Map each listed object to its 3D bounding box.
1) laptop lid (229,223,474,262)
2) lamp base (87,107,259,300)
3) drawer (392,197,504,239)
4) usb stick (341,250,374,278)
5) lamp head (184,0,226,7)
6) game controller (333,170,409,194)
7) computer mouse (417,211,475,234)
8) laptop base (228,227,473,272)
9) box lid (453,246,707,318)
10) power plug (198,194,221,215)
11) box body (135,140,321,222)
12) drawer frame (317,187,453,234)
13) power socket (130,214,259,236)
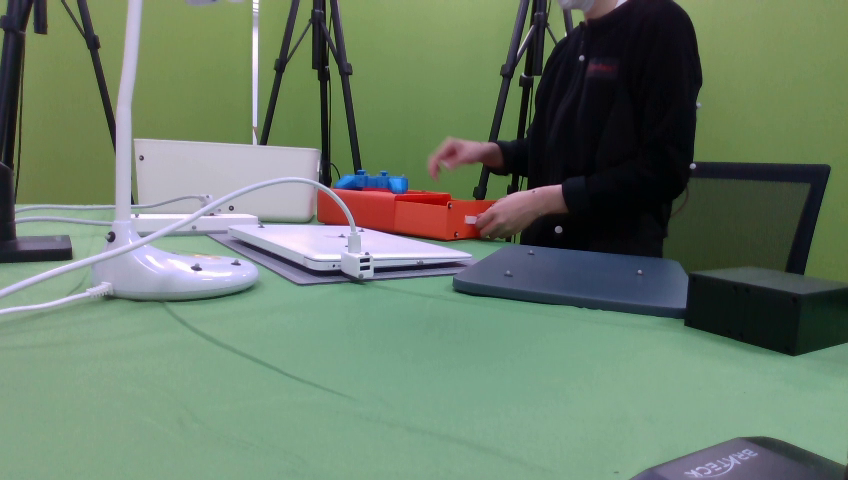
[{"bbox_3d":[-0.121,0.000,0.888,0.243,0.013,0.355,1,7,-33],"label":"laptop lid"},{"bbox_3d":[-0.254,-0.039,0.603,0.160,0.180,0.179,5,10,18],"label":"lamp base"},{"bbox_3d":[0.021,-0.052,1.210,0.210,0.073,0.195,8,9,37],"label":"drawer"},{"bbox_3d":[-0.078,0.026,0.686,0.021,0.027,0.059,-8,8,-30],"label":"usb stick"},{"bbox_3d":[-0.229,-0.320,0.627,0.112,0.112,0.123,6,-35,26],"label":"lamp head"},{"bbox_3d":[-0.107,-0.121,1.289,0.155,0.051,0.097,4,5,10],"label":"game controller"},{"bbox_3d":[0.043,-0.034,1.186,0.118,0.041,0.062,-10,16,-43],"label":"computer mouse"},{"bbox_3d":[-0.124,0.011,0.889,0.237,0.023,0.352,2,6,-35],"label":"laptop base"},{"bbox_3d":[0.204,0.044,0.780,0.262,0.015,0.372,5,7,17],"label":"box lid"},{"bbox_3d":[-0.386,-0.055,1.088,0.035,0.052,0.072,-2,7,-24],"label":"power plug"},{"bbox_3d":[-0.420,-0.133,1.354,0.365,0.160,0.253,2,7,-8],"label":"box body"},{"bbox_3d":[-0.082,-0.068,1.282,0.212,0.082,0.203,7,9,35],"label":"drawer frame"},{"bbox_3d":[-0.397,-0.028,1.048,0.228,0.032,0.072,-3,7,-35],"label":"power socket"}]
